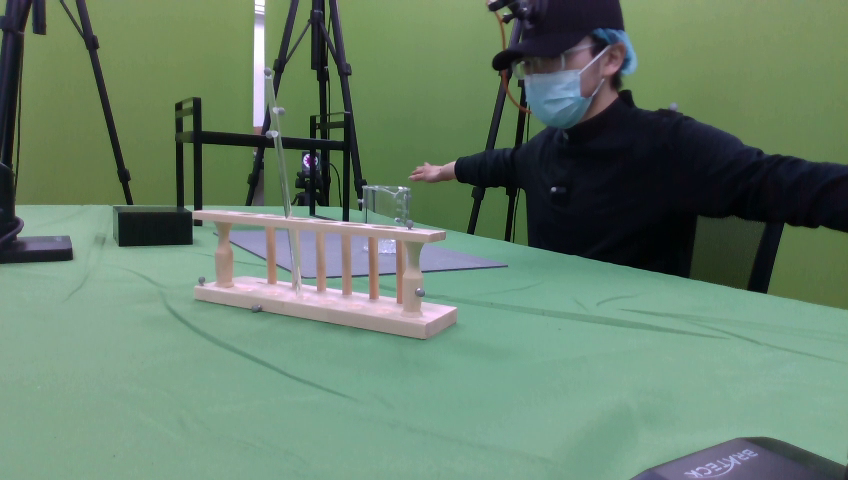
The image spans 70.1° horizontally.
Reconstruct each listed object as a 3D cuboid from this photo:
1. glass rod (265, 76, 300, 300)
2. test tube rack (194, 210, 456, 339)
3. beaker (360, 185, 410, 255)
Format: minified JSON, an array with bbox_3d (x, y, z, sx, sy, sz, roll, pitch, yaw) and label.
[{"bbox_3d":[-0.124,-0.043,0.533,0.008,0.199,0.008,-6,7,1],"label":"glass rod"},{"bbox_3d":[-0.093,0.023,0.546,0.241,0.085,0.067,6,8,25],"label":"test tube rack"},{"bbox_3d":[-0.058,-0.031,0.907,0.074,0.100,0.083,-1,9,-22],"label":"beaker"}]
